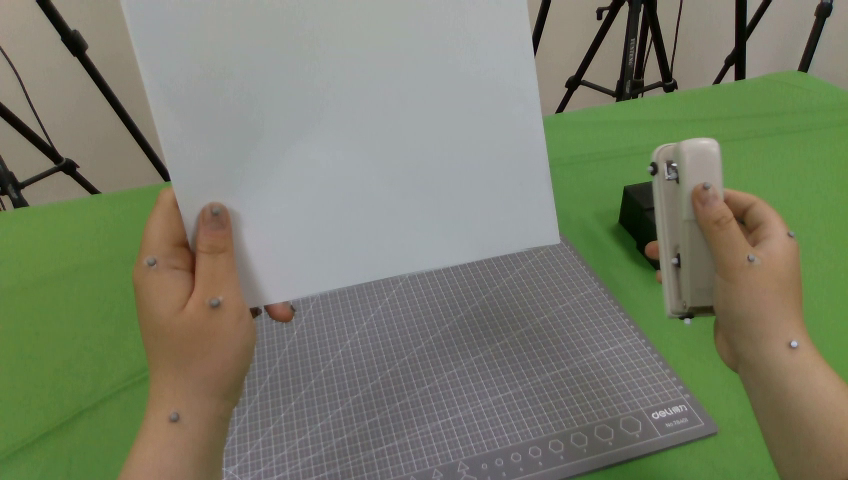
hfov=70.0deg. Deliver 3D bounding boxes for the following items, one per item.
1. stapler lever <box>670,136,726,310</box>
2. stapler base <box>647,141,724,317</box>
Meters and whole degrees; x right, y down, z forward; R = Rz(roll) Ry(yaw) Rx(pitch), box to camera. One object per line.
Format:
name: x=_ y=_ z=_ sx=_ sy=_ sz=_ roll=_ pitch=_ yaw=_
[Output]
stapler lever: x=0.186 y=-0.012 z=0.409 sx=0.027 sy=0.117 sz=0.040 roll=-5 pitch=-6 yaw=9
stapler base: x=0.189 y=-0.011 z=0.435 sx=0.041 sy=0.130 sz=0.024 roll=-5 pitch=-6 yaw=9
